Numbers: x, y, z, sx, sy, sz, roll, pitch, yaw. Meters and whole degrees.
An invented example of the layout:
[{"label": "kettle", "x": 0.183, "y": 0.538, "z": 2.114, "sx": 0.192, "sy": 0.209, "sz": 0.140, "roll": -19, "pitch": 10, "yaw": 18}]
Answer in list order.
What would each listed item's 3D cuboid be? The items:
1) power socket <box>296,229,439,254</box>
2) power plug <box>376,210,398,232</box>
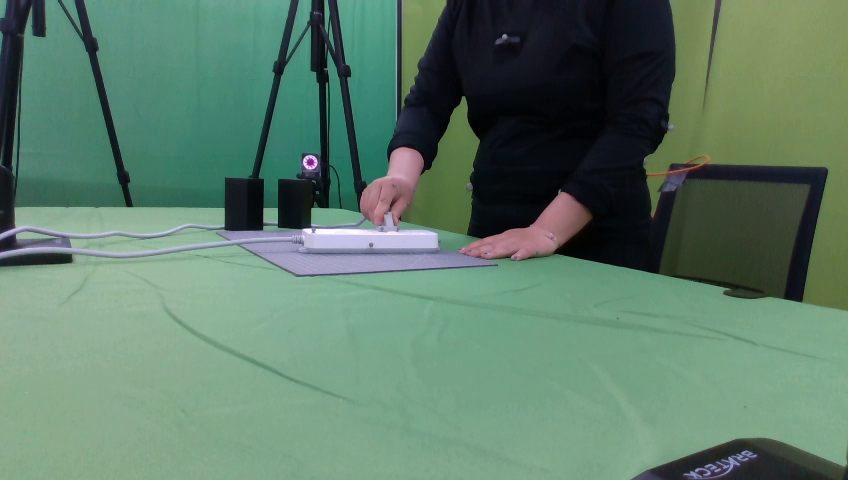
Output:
[{"label": "power socket", "x": -0.085, "y": 0.001, "z": 0.941, "sx": 0.228, "sy": 0.032, "sz": 0.072, "roll": 0, "pitch": 7, "yaw": -20}, {"label": "power plug", "x": -0.060, "y": -0.021, "z": 0.977, "sx": 0.035, "sy": 0.052, "sz": 0.072, "roll": 1, "pitch": 7, "yaw": -5}]
